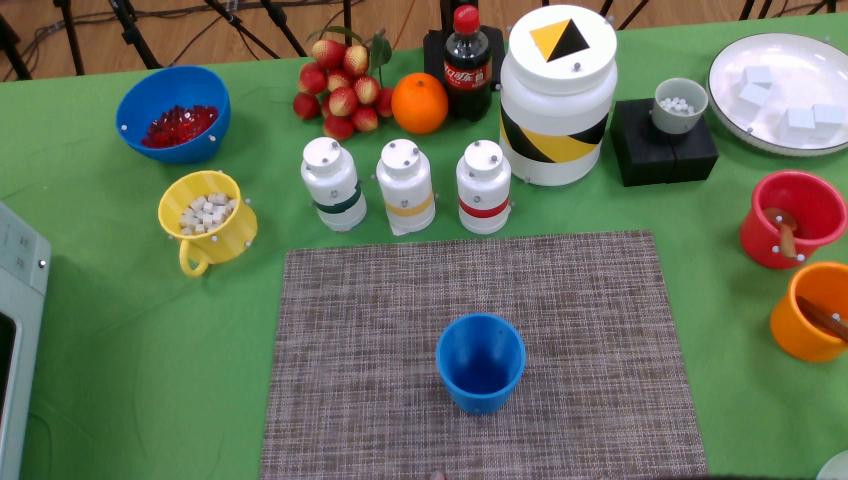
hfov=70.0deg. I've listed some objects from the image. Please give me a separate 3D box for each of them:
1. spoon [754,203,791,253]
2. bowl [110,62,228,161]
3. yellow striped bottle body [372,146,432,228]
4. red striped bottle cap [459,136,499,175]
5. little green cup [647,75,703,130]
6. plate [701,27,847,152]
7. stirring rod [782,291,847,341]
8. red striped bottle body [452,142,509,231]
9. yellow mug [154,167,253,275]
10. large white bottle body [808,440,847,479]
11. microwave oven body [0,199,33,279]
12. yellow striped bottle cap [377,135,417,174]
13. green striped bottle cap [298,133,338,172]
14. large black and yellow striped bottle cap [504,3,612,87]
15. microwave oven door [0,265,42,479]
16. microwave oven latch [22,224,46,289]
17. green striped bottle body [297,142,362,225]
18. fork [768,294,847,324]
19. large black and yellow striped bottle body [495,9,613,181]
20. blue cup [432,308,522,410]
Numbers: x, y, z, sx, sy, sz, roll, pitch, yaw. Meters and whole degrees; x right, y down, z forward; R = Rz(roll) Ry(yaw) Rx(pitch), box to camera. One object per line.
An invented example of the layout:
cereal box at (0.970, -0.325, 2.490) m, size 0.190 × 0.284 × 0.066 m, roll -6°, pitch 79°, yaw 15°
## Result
spoon at (0.375, -0.015, 0.643) m, size 0.041 × 0.194 × 0.022 m, roll 26°, pitch 111°, yaw 19°
bowl at (-0.333, -0.161, 0.828) m, size 0.151 × 0.077 × 0.150 m, roll -2°, pitch 60°, yaw 3°
yellow striped bottle body at (-0.026, -0.071, 0.724) m, size 0.063 × 0.121 × 0.062 m, roll -3°, pitch 60°, yaw 5°
red striped bottle cap at (0.061, -0.094, 0.669) m, size 0.044 × 0.018 × 0.044 m, roll 0°, pitch 58°, yaw 0°
little green cup at (0.303, -0.166, 0.738) m, size 0.061 × 0.039 × 0.061 m, roll -1°, pitch 58°, yaw 2°
plate at (0.470, -0.196, 0.799) m, size 0.209 × 0.038 × 0.207 m, roll -2°, pitch 61°, yaw 4°
stirring rod at (0.401, 0.084, 0.589) m, size 0.014 × 0.006 × 0.175 m, roll -2°, pitch 17°, yaw 2°
red striped bottle body at (0.067, -0.067, 0.714) m, size 0.063 × 0.121 × 0.062 m, roll -4°, pitch 58°, yaw 7°
yellow mug at (-0.275, -0.019, 0.748) m, size 0.100 × 0.064 × 0.130 m, roll 5°, pitch 61°, yaw 7°
large white bottle body at (0.416, 0.209, 0.487) m, size 0.130 × 0.186 × 0.129 m, roll -2°, pitch 60°, yaw 4°
microwave oven body at (-0.604, 0.153, 0.563) m, size 0.326 × 0.262 × 0.437 m, roll -12°, pitch 61°, yaw -2°
yellow striped bottle cap at (-0.030, -0.097, 0.680) m, size 0.044 × 0.019 × 0.044 m, roll -2°, pitch 61°, yaw 4°
green striped bottle cap at (-0.120, -0.100, 0.689) m, size 0.044 × 0.020 × 0.044 m, roll -1°, pitch 60°, yaw 3°
large black and yellow striped bottle cap at (0.144, -0.213, 0.656) m, size 0.115 × 0.019 × 0.114 m, roll -3°, pitch 59°, yaw 5°
microwave oven door at (-0.454, 0.156, 0.542) m, size 0.039 × 0.246 × 0.352 m, roll -12°, pitch 60°, yaw -1°
microwave oven latch at (-0.484, 0.022, 0.738) m, size 0.030 × 0.030 × 0.078 m, roll -9°, pitch 61°, yaw -1°
green striped bottle body at (-0.115, -0.073, 0.734) m, size 0.063 × 0.120 × 0.062 m, roll -2°, pitch 60°, yaw 4°
fork at (0.430, 0.082, 0.579) m, size 0.028 × 0.019 × 0.206 m, roll -39°, pitch 20°, yaw -15°
large black and yellow striped bottle body at (0.152, -0.172, 0.730) m, size 0.131 × 0.185 × 0.129 m, roll -2°, pitch 60°, yaw 4°
blue cup at (0.052, 0.128, 0.610) m, size 0.092 × 0.101 × 0.092 m, roll -1°, pitch 59°, yaw 3°
